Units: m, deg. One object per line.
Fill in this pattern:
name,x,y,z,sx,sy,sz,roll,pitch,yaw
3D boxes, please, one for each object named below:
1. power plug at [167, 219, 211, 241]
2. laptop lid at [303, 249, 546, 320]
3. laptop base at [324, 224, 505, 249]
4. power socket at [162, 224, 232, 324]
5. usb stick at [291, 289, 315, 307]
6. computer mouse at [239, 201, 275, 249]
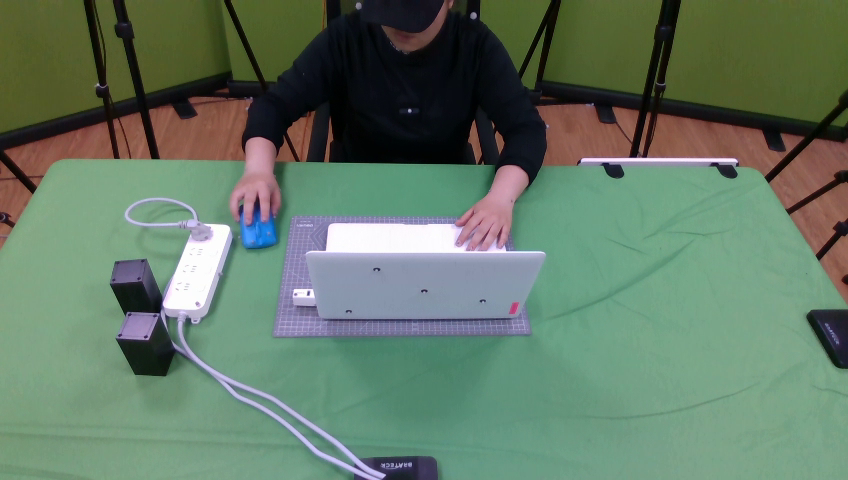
power plug,-0.438,-0.017,1.143,0.072,0.053,0.035,10,43,7
laptop lid,-0.002,0.077,0.962,0.357,0.242,0.013,1,58,-5
laptop base,-0.014,0.055,1.144,0.355,0.023,0.234,0,42,-4
power socket,-0.411,0.052,1.106,0.072,0.033,0.225,4,46,-1
usb stick,-0.203,0.102,1.066,0.059,0.027,0.021,4,45,-5
computer mouse,-0.330,-0.033,1.194,0.063,0.041,0.116,-7,51,-13
